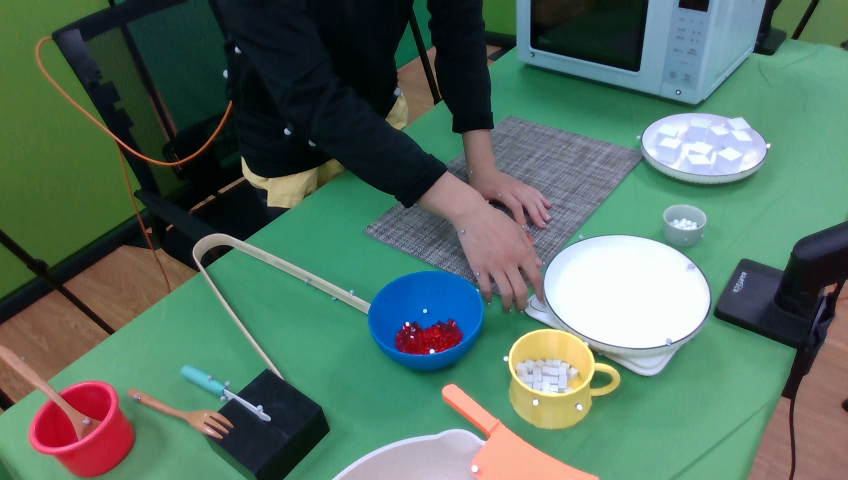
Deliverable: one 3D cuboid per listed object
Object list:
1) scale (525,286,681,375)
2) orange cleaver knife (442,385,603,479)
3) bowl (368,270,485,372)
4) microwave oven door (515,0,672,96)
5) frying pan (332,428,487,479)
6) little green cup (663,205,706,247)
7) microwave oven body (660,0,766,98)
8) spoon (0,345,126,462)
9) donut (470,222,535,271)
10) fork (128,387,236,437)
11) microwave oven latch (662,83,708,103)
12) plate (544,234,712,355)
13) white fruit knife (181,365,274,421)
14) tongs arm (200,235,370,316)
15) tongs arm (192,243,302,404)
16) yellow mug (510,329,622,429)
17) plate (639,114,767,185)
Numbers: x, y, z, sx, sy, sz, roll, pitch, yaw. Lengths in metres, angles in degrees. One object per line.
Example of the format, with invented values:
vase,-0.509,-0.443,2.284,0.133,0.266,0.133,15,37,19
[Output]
scale,0.254,0.091,0.821,0.199,0.032,0.149,28,51,35
orange cleaver knife,0.086,0.219,0.612,0.209,0.012,0.077,28,49,35
bowl,0.007,0.119,0.791,0.151,0.077,0.150,-5,40,4
microwave oven door,0.343,-0.454,1.259,0.353,0.245,0.039,26,51,33
frying pan,-0.089,0.306,0.564,0.487,0.103,0.306,10,41,7
little green cup,0.396,-0.020,0.926,0.061,0.039,0.061,-4,40,4
microwave oven body,0.472,-0.513,1.317,0.438,0.261,0.327,26,51,34
spoon,-0.434,0.192,0.720,0.194,0.021,0.042,47,53,-6
donut,0.119,0.009,0.923,0.099,0.048,0.098,-4,38,4
fork,-0.305,0.208,0.744,0.206,0.019,0.028,3,41,36
microwave oven latch,0.518,-0.296,1.204,0.078,0.029,0.030,28,52,35
plate,0.262,0.072,0.792,0.209,0.038,0.208,-4,41,4
white fruit knife,-0.245,0.188,0.747,0.205,0.027,0.016,9,41,41
tongs arm,-0.209,0.062,0.924,0.381,0.026,0.051,23,53,32
tongs arm,-0.268,0.109,0.883,0.028,0.028,0.384,-35,46,-18
yellow mug,0.168,0.165,0.721,0.130,0.064,0.099,0,40,8
plate,0.489,-0.157,1.074,0.207,0.039,0.206,-4,40,4
